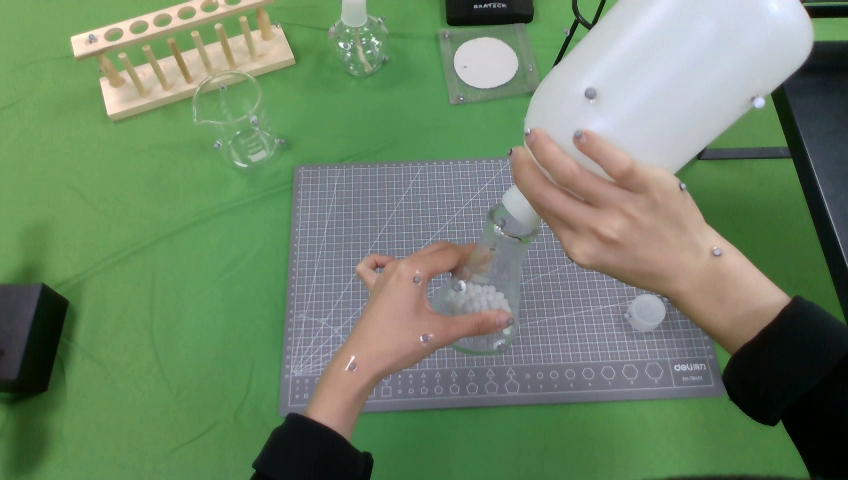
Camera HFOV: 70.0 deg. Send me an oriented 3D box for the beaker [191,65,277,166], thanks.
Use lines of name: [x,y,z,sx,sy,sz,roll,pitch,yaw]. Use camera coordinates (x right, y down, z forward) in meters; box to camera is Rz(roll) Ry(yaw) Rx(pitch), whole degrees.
beaker: [-0.218,-0.138,0.702,0.084,0.101,0.073,-42,70,-17]

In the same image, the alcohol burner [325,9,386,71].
alcohol burner: [-0.087,-0.271,0.758,0.078,0.120,0.077,0,62,0]

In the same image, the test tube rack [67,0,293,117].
test tube rack: [-0.298,-0.242,0.760,0.242,0.086,0.066,-21,66,-10]

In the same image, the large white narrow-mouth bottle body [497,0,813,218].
large white narrow-mouth bottle body: [0.124,-0.086,0.380,0.195,0.102,0.101,-44,65,23]

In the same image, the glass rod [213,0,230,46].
glass rod: [-0.252,-0.305,0.716,0.008,0.201,0.008,2,62,-4]

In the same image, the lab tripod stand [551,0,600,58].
lab tripod stand: [0.210,-0.238,0.730,0.148,0.132,0.147,1,64,-1]

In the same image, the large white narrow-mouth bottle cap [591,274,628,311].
large white narrow-mouth bottle cap: [0.200,0.057,0.652,0.038,0.024,0.037,-1,64,2]

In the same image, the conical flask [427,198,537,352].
conical flask: [0.049,0.024,0.461,0.075,0.123,0.074,8,45,-8]

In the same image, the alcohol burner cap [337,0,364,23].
alcohol burner cap: [-0.087,-0.288,0.726,0.034,0.048,0.033,4,63,-7]

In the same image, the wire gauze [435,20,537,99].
wire gauze: [0.082,-0.244,0.802,0.121,0.011,0.124,-6,64,-4]
